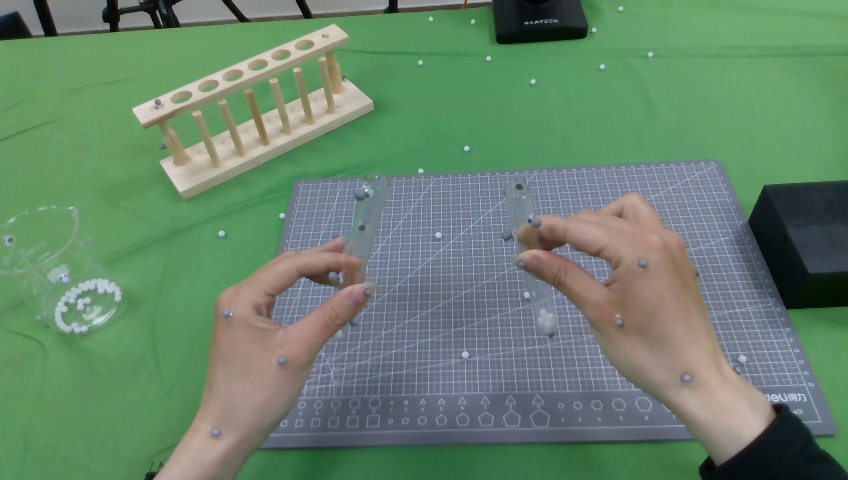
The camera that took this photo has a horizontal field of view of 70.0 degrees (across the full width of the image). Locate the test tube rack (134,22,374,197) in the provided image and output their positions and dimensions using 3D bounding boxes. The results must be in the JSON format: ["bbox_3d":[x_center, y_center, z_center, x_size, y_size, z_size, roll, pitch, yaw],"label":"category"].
[{"bbox_3d":[-0.180,-0.150,0.679,0.242,0.086,0.066,-31,53,-19],"label":"test tube rack"}]

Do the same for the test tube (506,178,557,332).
[{"bbox_3d":[0.073,0.017,0.401,0.017,0.152,0.017,-10,47,12],"label":"test tube"}]

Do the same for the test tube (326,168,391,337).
[{"bbox_3d":[-0.045,0.015,0.390,0.017,0.151,0.017,11,43,-10],"label":"test tube"}]

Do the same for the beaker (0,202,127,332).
[{"bbox_3d":[-0.314,0.026,0.533,0.073,0.101,0.083,19,53,20],"label":"beaker"}]
